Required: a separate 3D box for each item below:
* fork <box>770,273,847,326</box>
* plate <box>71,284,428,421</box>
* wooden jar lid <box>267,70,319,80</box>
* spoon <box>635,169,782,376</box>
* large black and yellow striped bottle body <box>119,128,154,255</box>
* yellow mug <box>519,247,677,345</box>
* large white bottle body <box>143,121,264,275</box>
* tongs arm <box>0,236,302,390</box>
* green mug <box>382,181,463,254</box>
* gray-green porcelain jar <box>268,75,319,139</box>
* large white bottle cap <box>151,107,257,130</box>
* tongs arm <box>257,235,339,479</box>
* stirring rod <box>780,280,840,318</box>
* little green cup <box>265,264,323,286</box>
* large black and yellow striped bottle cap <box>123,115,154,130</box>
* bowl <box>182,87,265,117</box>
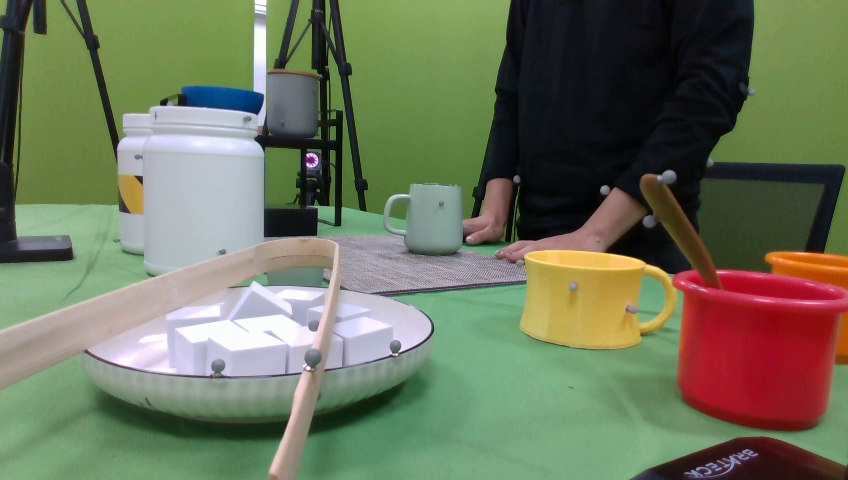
[{"bbox_3d":[0.332,0.018,0.443,0.028,0.018,0.207,-3,-35,-18],"label":"fork"},{"bbox_3d":[-0.102,0.067,0.381,0.208,0.039,0.207,3,7,0],"label":"plate"},{"bbox_3d":[-0.275,-0.339,1.271,0.108,0.020,0.108,5,6,0],"label":"wooden jar lid"},{"bbox_3d":[0.161,0.026,0.346,0.041,0.194,0.021,10,56,53],"label":"spoon"},{"bbox_3d":[-0.355,-0.076,0.850,0.131,0.184,0.130,2,8,0],"label":"large black and yellow striped bottle body"},{"bbox_3d":[0.148,0.045,0.513,0.131,0.064,0.100,3,7,0],"label":"yellow mug"},{"bbox_3d":[-0.254,-0.054,0.702,0.131,0.184,0.130,2,8,0],"label":"large white bottle body"},{"bbox_3d":[-0.157,0.037,0.347,0.028,0.028,0.388,-2,8,11],"label":"tongs arm"},{"bbox_3d":[-0.001,-0.036,0.922,0.126,0.105,0.092,0,8,-16],"label":"green mug"},{"bbox_3d":[-0.277,-0.279,1.280,0.106,0.126,0.106,2,8,0],"label":"gray-green porcelain jar"},{"bbox_3d":[-0.250,-0.138,0.692,0.115,0.018,0.115,3,7,0],"label":"large white bottle cap"},{"bbox_3d":[-0.074,0.040,0.345,0.051,0.026,0.384,-1,9,-3],"label":"tongs arm"},{"bbox_3d":[0.343,0.019,0.460,0.014,0.006,0.176,-11,-28,-28],"label":"stirring rod"},{"bbox_3d":[-0.134,0.033,0.627,0.061,0.038,0.061,3,7,0],"label":"little green cup"},{"bbox_3d":[-0.353,-0.159,0.838,0.115,0.019,0.115,2,6,0],"label":"large black and yellow striped bottle cap"},{"bbox_3d":[-0.383,-0.244,1.158,0.151,0.077,0.151,2,7,0],"label":"bowl"}]
